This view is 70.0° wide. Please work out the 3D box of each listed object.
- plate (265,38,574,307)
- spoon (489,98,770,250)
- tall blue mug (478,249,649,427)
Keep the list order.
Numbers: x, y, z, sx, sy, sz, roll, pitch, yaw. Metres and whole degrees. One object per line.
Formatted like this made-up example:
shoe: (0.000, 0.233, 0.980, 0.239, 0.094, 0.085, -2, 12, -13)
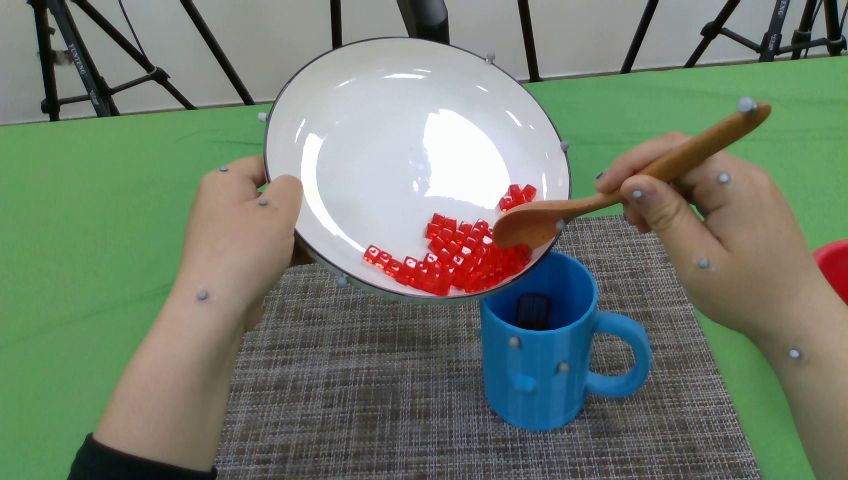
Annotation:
plate: (-0.001, -0.048, 0.415, 0.208, 0.039, 0.206, 6, 63, -11)
spoon: (0.096, -0.026, 0.324, 0.042, 0.193, 0.021, 21, 68, -20)
tall blue mug: (0.093, 0.067, 0.425, 0.107, 0.109, 0.077, -9, 41, -1)
